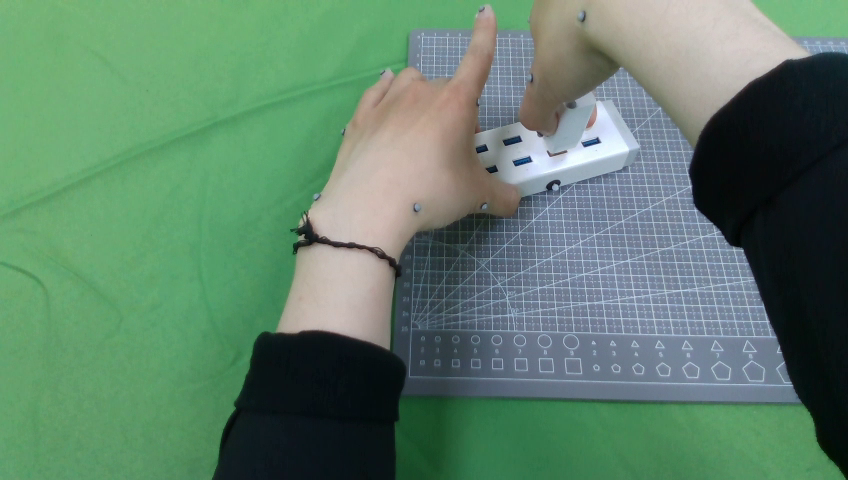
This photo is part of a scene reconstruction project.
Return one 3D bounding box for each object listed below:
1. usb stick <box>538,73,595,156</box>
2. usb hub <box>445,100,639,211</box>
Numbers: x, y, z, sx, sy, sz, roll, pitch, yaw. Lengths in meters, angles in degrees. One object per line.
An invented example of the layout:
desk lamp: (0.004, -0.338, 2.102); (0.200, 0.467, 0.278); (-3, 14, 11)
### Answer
usb stick: (0.090, -0.076, 0.389); (0.021, 0.059, 0.027); (-22, 62, -10)
usb hub: (0.081, -0.061, 0.421); (0.125, 0.025, 0.049); (-15, 63, -9)
